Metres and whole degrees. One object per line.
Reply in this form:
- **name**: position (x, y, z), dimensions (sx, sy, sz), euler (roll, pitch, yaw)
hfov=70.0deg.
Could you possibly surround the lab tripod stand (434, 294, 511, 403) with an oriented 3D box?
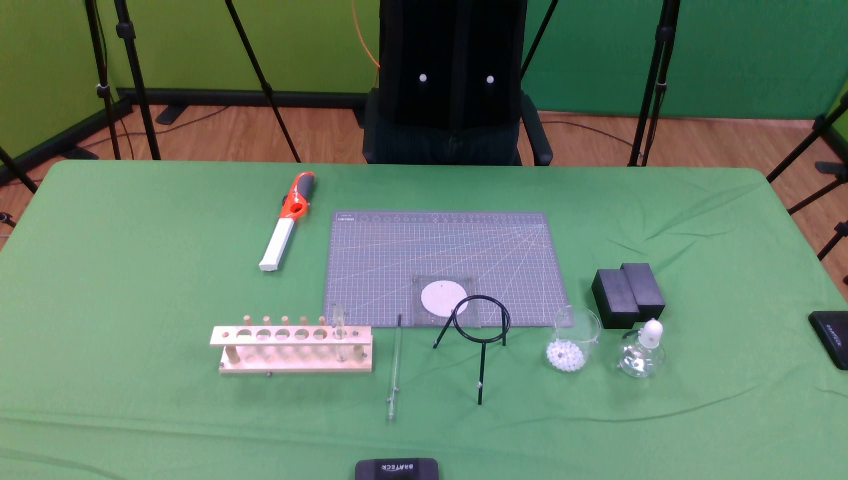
- **lab tripod stand**: position (0.087, 0.164, 0.969), dimensions (0.148, 0.132, 0.147), euler (3, 47, -3)

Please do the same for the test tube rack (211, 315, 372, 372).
- **test tube rack**: position (-0.208, 0.163, 0.982), dimensions (0.242, 0.085, 0.066), euler (1, 46, -4)

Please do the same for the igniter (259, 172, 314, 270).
- **igniter**: position (-0.273, -0.047, 1.220), dimensions (0.057, 0.025, 0.275), euler (0, 45, 10)

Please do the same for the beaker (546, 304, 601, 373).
- **beaker**: position (0.242, 0.167, 1.001), dimensions (0.084, 0.101, 0.073), euler (-32, 55, -28)

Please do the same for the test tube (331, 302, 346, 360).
- **test tube**: position (-0.132, 0.144, 0.938), dimensions (0.017, 0.151, 0.017), euler (2, 49, -3)

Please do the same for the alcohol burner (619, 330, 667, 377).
- **alcohol burner**: position (0.363, 0.172, 0.995), dimensions (0.078, 0.120, 0.077), euler (1, 48, -1)

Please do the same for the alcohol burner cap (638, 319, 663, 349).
- **alcohol burner cap**: position (0.364, 0.147, 0.968), dimensions (0.034, 0.048, 0.033), euler (-1, 44, 1)

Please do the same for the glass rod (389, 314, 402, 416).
- **glass rod**: position (-0.048, 0.203, 1.007), dimensions (0.008, 0.008, 0.198), euler (4, 45, 0)

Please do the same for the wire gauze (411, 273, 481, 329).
- **wire gauze**: position (0.038, 0.108, 1.103), dimensions (0.125, 0.011, 0.120), euler (2, 47, -3)
